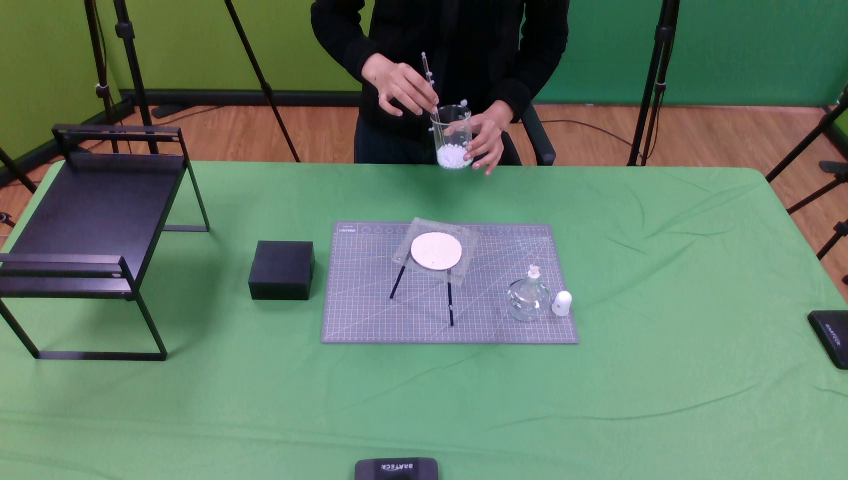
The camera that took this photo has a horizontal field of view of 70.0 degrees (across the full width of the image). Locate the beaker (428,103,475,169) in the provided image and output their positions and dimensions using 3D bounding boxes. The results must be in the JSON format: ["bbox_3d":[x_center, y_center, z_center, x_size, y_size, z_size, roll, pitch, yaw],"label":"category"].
[{"bbox_3d":[0.055,-0.187,1.106,0.074,0.101,0.083,-23,41,-13],"label":"beaker"}]

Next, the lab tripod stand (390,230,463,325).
[{"bbox_3d":[0.014,0.060,1.056,0.148,0.132,0.147,1,48,-1],"label":"lab tripod stand"}]

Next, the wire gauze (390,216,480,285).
[{"bbox_3d":[0.020,0.012,1.009,0.125,0.011,0.121,16,48,12],"label":"wire gauze"}]

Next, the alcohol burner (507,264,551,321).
[{"bbox_3d":[0.185,0.086,1.056,0.078,0.120,0.077,1,47,0],"label":"alcohol burner"}]

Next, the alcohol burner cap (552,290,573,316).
[{"bbox_3d":[0.250,0.110,1.088,0.034,0.048,0.033,3,45,-3],"label":"alcohol burner cap"}]

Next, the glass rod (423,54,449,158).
[{"bbox_3d":[0.022,-0.232,1.073,0.008,0.201,0.008,-10,35,8],"label":"glass rod"}]
